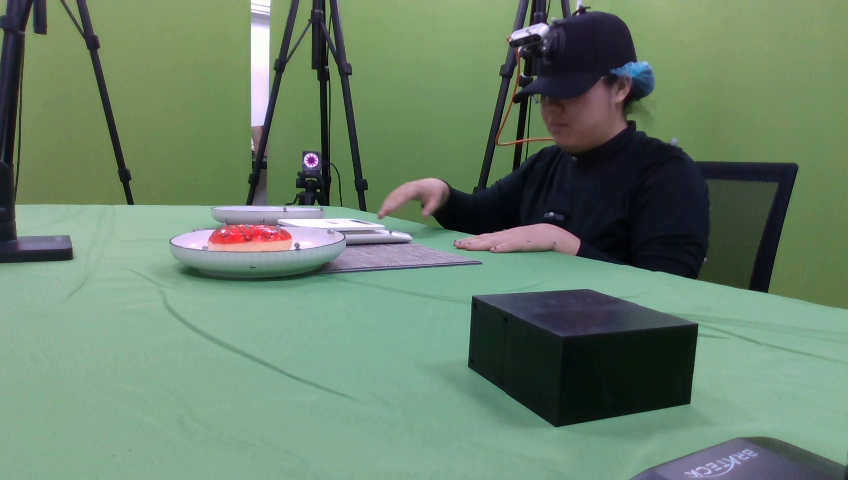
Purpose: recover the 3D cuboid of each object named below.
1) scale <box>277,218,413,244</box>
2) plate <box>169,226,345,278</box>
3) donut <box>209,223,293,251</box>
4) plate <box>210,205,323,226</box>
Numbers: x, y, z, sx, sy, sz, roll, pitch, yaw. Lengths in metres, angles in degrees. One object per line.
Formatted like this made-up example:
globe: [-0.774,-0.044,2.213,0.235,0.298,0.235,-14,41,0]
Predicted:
scale: [-0.134,-0.016,1.015,0.202,0.031,0.148,-1,9,-33]
plate: [-0.202,0.014,0.748,0.209,0.038,0.209,1,9,0]
donut: [-0.210,0.004,0.738,0.099,0.048,0.099,0,8,0]
plate: [-0.298,-0.043,1.152,0.208,0.039,0.207,2,5,0]
